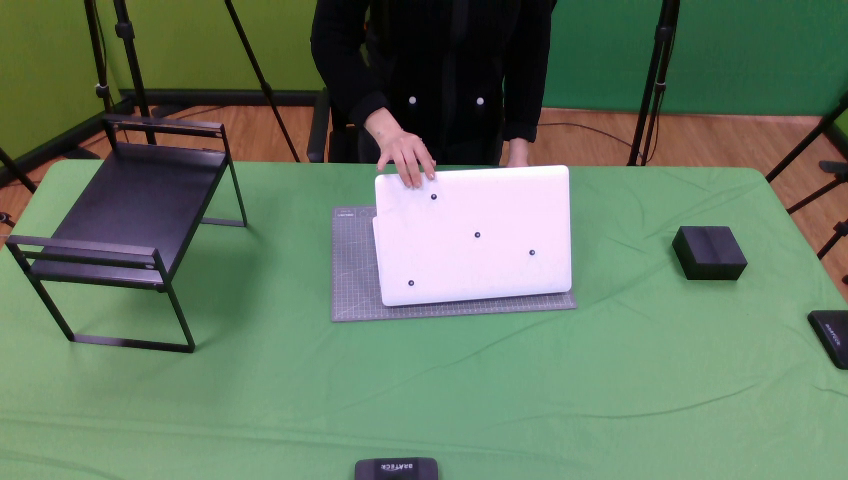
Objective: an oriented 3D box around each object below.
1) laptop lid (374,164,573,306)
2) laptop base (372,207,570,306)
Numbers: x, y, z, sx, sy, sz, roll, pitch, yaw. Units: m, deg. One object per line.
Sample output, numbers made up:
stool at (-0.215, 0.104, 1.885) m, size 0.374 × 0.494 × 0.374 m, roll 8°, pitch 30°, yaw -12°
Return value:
laptop lid at (0.093, -0.011, 1.080) m, size 0.357 × 0.241 × 0.013 m, roll -2°, pitch 4°, yaw -7°
laptop base at (0.083, 0.027, 1.179) m, size 0.355 × 0.023 × 0.234 m, roll -4°, pitch 43°, yaw -8°
